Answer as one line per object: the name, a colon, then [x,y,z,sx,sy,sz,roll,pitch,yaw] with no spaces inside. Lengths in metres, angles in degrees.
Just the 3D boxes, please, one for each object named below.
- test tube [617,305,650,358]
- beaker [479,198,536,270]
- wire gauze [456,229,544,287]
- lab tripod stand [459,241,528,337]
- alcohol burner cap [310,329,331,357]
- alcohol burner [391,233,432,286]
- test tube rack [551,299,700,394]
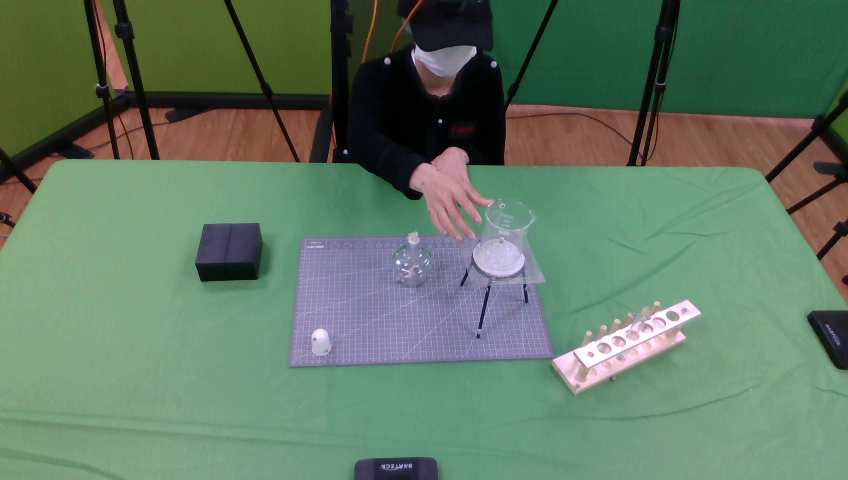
test tube: [0.333,0.149,0.967,0.017,0.151,0.017,0,52,1]
beaker: [0.131,-0.007,0.975,0.084,0.101,0.073,3,46,-4]
wire gauze: [0.125,0.030,1.008,0.125,0.011,0.120,-2,48,-11]
lab tripod stand: [0.122,0.075,1.054,0.148,0.132,0.147,3,44,-3]
alcohol burner cap: [-0.173,0.168,1.004,0.034,0.048,0.033,2,46,-2]
alcohol burner: [-0.022,0.028,1.102,0.078,0.119,0.077,2,48,-2]
test tube rack: [0.339,0.166,1.021,0.242,0.085,0.066,-19,50,-21]
